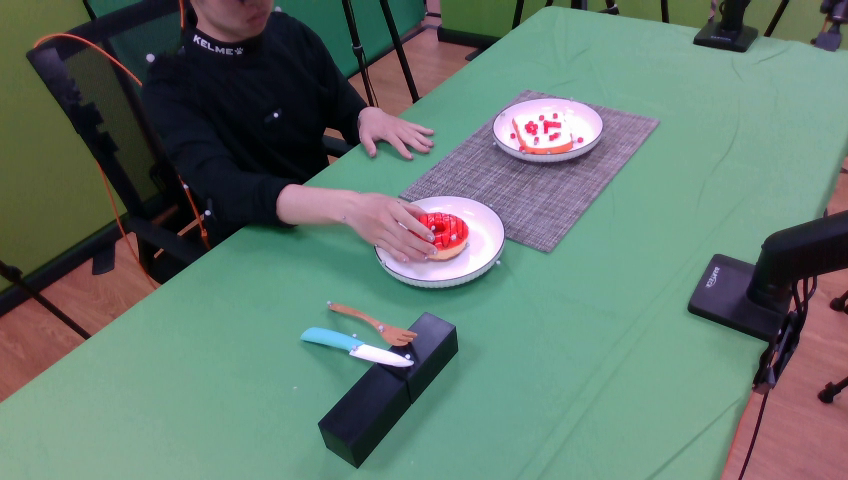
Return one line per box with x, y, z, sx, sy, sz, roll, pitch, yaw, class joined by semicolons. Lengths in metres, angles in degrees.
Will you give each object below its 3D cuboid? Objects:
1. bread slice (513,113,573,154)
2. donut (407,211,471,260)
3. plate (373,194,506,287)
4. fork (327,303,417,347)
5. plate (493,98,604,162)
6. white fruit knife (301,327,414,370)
0.233;-0.204;1.160;0.105;0.019;0.131;-7;39;1;bread slice
0.023;-0.008;0.940;0.099;0.048;0.098;-3;39;3;donut
0.024;0.003;0.951;0.207;0.039;0.206;-4;41;4;plate
-0.077;0.110;0.811;0.028;0.019;0.205;-41;33;-26;fork
0.237;-0.206;1.158;0.209;0.038;0.208;-4;40;4;plate
-0.088;0.140;0.781;0.205;0.016;0.027;8;42;42;white fruit knife
